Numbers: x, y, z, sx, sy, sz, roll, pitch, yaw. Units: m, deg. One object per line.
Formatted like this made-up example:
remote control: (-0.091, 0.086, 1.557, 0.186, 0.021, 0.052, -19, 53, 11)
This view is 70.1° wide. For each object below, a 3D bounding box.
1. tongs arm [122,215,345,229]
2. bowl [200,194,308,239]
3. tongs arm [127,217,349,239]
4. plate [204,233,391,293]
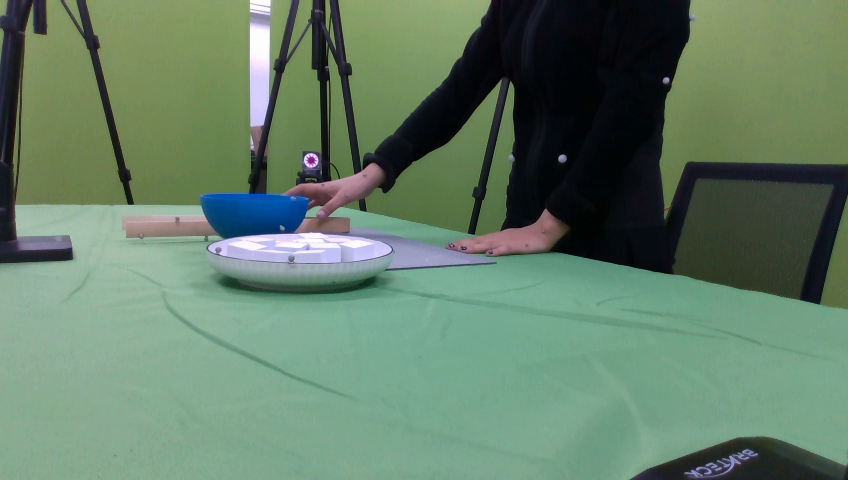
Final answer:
tongs arm: (-0.336, -0.032, 1.103, 0.389, 0.027, 0.028, 0, 1, -19)
bowl: (-0.245, -0.025, 0.879, 0.151, 0.077, 0.151, 2, 7, 0)
tongs arm: (-0.294, -0.023, 1.027, 0.387, 0.026, 0.050, -3, 5, -34)
plate: (-0.143, 0.025, 0.697, 0.208, 0.039, 0.207, 3, 9, 0)
